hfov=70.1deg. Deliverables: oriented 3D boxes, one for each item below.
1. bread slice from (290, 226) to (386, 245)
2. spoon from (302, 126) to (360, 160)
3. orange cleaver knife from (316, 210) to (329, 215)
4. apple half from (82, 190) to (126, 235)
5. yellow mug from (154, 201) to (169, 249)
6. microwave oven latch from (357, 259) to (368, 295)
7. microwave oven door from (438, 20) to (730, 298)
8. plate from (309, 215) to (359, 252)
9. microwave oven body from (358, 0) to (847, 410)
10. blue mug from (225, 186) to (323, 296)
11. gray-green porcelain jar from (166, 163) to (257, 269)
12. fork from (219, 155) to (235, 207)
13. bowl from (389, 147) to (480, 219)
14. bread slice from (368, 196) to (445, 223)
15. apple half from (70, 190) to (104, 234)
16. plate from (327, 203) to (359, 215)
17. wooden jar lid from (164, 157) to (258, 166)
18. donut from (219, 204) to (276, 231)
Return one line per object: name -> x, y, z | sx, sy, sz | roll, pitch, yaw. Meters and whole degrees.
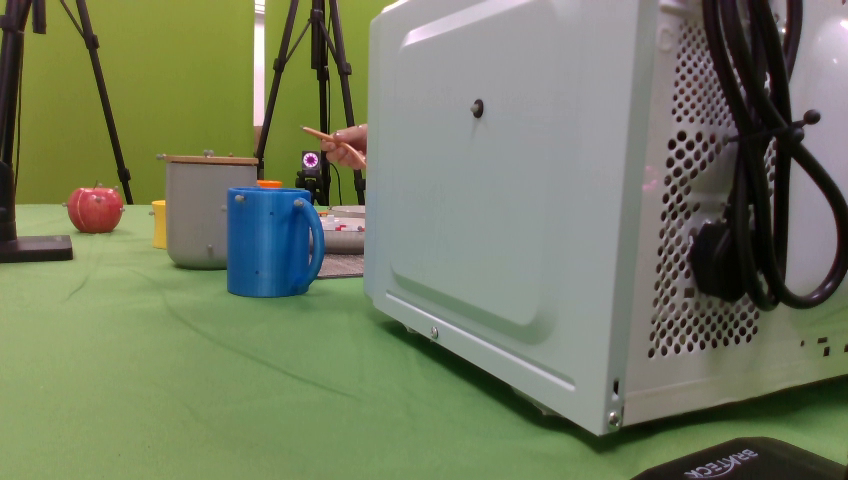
bread slice -> -0.124, -0.008, 0.937 | 0.131, 0.019, 0.105 | 3, 8, 33
spoon -> -0.126, -0.152, 0.984 | 0.193, 0.021, 0.042 | 31, 20, 25
orange cleaver knife -> -0.259, -0.064, 1.423 | 0.212, 0.012, 0.077 | -4, 3, -30
apple half -> -0.516, -0.046, 0.994 | 0.032, 0.081, 0.081 | 0, 6, 26
yellow mug -> -0.337, -0.022, 0.899 | 0.130, 0.064, 0.100 | 8, 9, 34
microwave oven latch -> -0.019, 0.031, 0.529 | 0.079, 0.029, 0.030 | -1, 7, -26
microwave oven door -> 0.181, -0.076, 0.618 | 0.358, 0.243, 0.039 | -2, 8, -28
plate -> -0.130, -0.011, 0.945 | 0.208, 0.039, 0.207 | 2, 8, 0
microwave oven body -> 0.210, -0.051, 0.471 | 0.444, 0.260, 0.324 | -1, 7, -28
blue mug -> -0.148, 0.000, 0.618 | 0.116, 0.106, 0.083 | 7, 9, 33
gray-green porcelain jar -> -0.263, -0.031, 0.754 | 0.106, 0.126, 0.106 | 2, 7, 0
fork -> -0.459, -0.134, 1.415 | 0.028, 0.018, 0.207 | -1, -34, -25
bowl -> 0.028, -0.082, 0.958 | 0.151, 0.077, 0.151 | -20, -1, 0
bread slice -> -0.040, -0.057, 1.142 | 0.107, 0.018, 0.133 | -8, -8, -39
apple half -> -0.552, -0.047, 1.010 | 0.053, 0.074, 0.081 | 0, 9, 26
plate -> -0.102, -0.053, 1.299 | 0.209, 0.038, 0.209 | 2, 8, 0
wooden jar lid -> -0.261, -0.093, 0.746 | 0.108, 0.020, 0.108 | 0, 9, 0
donut -> -0.316, -0.039, 1.083 | 0.099, 0.048, 0.099 | 3, 7, 0
